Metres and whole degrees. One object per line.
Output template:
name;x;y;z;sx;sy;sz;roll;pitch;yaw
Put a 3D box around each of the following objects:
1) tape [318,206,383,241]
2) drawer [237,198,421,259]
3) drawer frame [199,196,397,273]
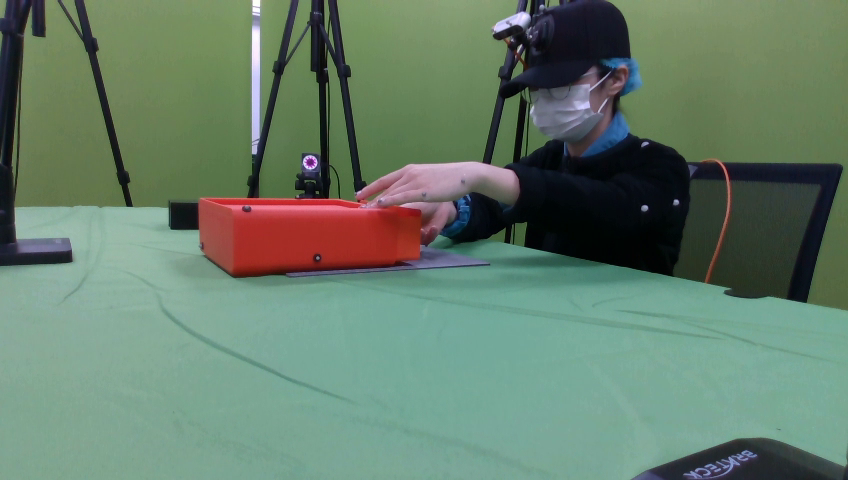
tape;-0.129;-0.030;1.076;0.117;0.052;0.117;2;8;0
drawer;-0.141;-0.017;0.840;0.213;0.073;0.193;-3;9;-31
drawer frame;-0.174;-0.015;0.819;0.215;0.082;0.200;-3;9;-31
